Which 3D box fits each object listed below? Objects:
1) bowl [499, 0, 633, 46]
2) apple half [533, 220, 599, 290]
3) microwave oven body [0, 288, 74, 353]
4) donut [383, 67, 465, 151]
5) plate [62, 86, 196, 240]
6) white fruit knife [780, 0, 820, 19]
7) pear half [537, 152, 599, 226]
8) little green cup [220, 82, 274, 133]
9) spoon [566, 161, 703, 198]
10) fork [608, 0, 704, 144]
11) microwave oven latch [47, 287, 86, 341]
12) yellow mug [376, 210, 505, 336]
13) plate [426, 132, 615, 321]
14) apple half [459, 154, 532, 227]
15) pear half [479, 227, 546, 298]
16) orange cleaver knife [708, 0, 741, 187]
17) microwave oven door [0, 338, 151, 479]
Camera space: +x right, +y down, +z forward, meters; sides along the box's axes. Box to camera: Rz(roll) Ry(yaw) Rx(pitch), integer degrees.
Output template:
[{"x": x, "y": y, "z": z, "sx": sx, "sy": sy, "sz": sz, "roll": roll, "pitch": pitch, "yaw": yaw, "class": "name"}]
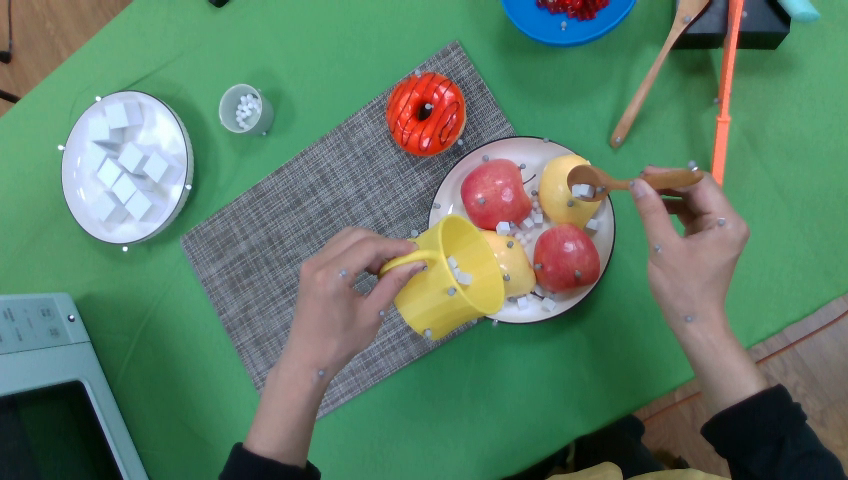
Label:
[{"x": 0.156, "y": -0.275, "z": 0.653, "sx": 0.151, "sy": 0.077, "sz": 0.151, "roll": 0, "pitch": 89, "yaw": 16, "class": "bowl"}, {"x": 0.143, "y": 0.018, "z": 0.649, "sx": 0.081, "sy": 0.033, "sz": 0.081, "roll": 7, "pitch": 102, "yaw": 37, "class": "apple half"}, {"x": -0.565, "y": 0.326, "z": 0.745, "sx": 0.326, "sy": 0.261, "sz": 0.440, "roll": -30, "pitch": 82, "yaw": 13, "class": "microwave oven body"}, {"x": 0.000, "y": -0.152, "z": 0.707, "sx": 0.099, "sy": 0.048, "sz": 0.099, "roll": 0, "pitch": 91, "yaw": 18, "class": "donut"}, {"x": -0.396, "y": -0.103, "z": 0.826, "sx": 0.207, "sy": 0.039, "sz": 0.207, "roll": 0, "pitch": 89, "yaw": 16, "class": "plate"}, {"x": 0.314, "y": -0.298, "z": 0.590, "sx": 0.027, "sy": 0.016, "sz": 0.206, "roll": -26, "pitch": 79, "yaw": -16, "class": "white fruit knife"}, {"x": 0.150, "y": -0.050, "z": 0.651, "sx": 0.070, "sy": 0.031, "sz": 0.088, "roll": 1, "pitch": 99, "yaw": 42, "class": "pear half"}, {"x": -0.226, "y": -0.167, "z": 0.778, "sx": 0.061, "sy": 0.039, "sz": 0.061, "roll": 0, "pitch": 88, "yaw": 16, "class": "little green cup"}, {"x": 0.174, "y": -0.052, "z": 0.525, "sx": 0.021, "sy": 0.193, "sz": 0.042, "roll": -30, "pitch": 100, "yaw": -7, "class": "spoon"}, {"x": 0.242, "y": -0.191, "z": 0.622, "sx": 0.028, "sy": 0.018, "sz": 0.208, "roll": 26, "pitch": 116, "yaw": 7, "class": "fork"}, {"x": -0.495, "y": 0.103, "z": 0.830, "sx": 0.030, "sy": 0.029, "sz": 0.079, "roll": -27, "pitch": 82, "yaw": 13, "class": "microwave oven latch"}, {"x": 0.011, "y": 0.028, "z": 0.543, "sx": 0.064, "sy": 0.132, "sz": 0.099, "roll": -29, "pitch": 64, "yaw": 29, "class": "yellow mug"}, {"x": 0.106, "y": -0.014, "z": 0.679, "sx": 0.208, "sy": 0.038, "sz": 0.209, "roll": 0, "pitch": 89, "yaw": 15, "class": "plate"}, {"x": 0.076, "y": -0.054, "z": 0.669, "sx": 0.074, "sy": 0.053, "sz": 0.080, "roll": -15, "pitch": 88, "yaw": 16, "class": "apple half"}, {"x": 0.088, "y": 0.033, "z": 0.669, "sx": 0.109, "sy": 0.056, "sz": 0.076, "roll": 31, "pitch": 101, "yaw": 9, "class": "pear half"}, {"x": 0.302, "y": -0.160, "z": 0.607, "sx": 0.012, "sy": 0.077, "sz": 0.213, "roll": 5, "pitch": 116, "yaw": 21, "class": "orange cleaver knife"}, {"x": -0.424, "y": 0.292, "z": 0.701, "sx": 0.039, "sy": 0.245, "sz": 0.354, "roll": -30, "pitch": 81, "yaw": 13, "class": "microwave oven door"}]
